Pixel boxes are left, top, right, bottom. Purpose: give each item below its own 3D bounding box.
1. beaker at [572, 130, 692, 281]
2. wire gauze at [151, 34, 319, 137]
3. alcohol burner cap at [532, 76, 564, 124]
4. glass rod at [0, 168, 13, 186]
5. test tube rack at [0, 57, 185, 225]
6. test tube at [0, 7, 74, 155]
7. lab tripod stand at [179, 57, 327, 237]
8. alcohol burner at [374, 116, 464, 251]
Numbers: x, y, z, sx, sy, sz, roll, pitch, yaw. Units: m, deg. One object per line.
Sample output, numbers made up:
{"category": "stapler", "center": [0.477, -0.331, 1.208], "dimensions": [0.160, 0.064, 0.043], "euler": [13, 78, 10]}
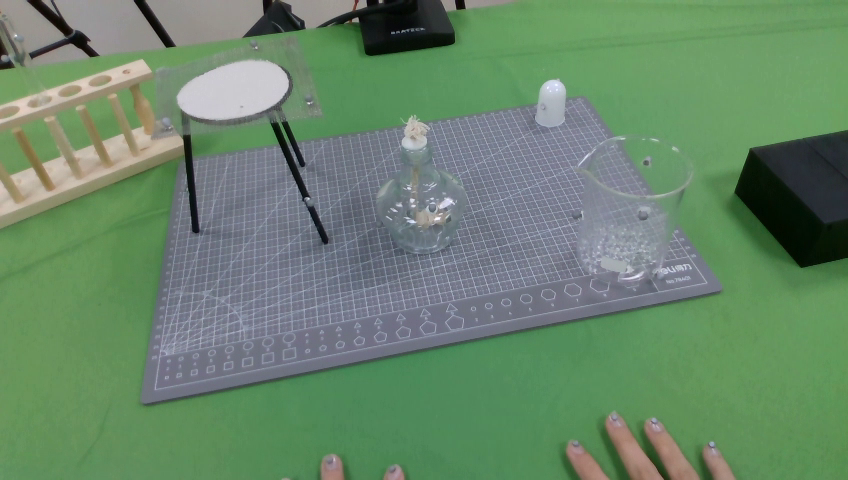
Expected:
{"category": "beaker", "center": [0.155, -0.023, 0.474], "dimensions": [0.084, 0.101, 0.073], "euler": [5, 46, 11]}
{"category": "wire gauze", "center": [-0.154, -0.123, 0.480], "dimensions": [0.125, 0.011, 0.120], "euler": [-15, 46, -9]}
{"category": "alcohol burner cap", "center": [0.132, -0.151, 0.643], "dimensions": [0.034, 0.048, 0.033], "euler": [-2, 45, 2]}
{"category": "glass rod", "center": [-0.429, -0.123, 0.540], "dimensions": [0.008, 0.201, 0.008], "euler": [-3, 48, 4]}
{"category": "test tube rack", "center": [-0.374, -0.092, 0.599], "dimensions": [0.242, 0.086, 0.066], "euler": [-28, 50, -22]}
{"category": "test tube", "center": [-0.374, -0.146, 0.582], "dimensions": [0.017, 0.151, 0.017], "euler": [-1, 41, 1]}
{"category": "lab tripod stand", "center": [-0.149, -0.076, 0.528], "dimensions": [0.148, 0.133, 0.147], "euler": [-3, 47, 3]}
{"category": "alcohol burner", "center": [-0.005, -0.049, 0.503], "dimensions": [0.078, 0.120, 0.077], "euler": [-3, 43, 3]}
